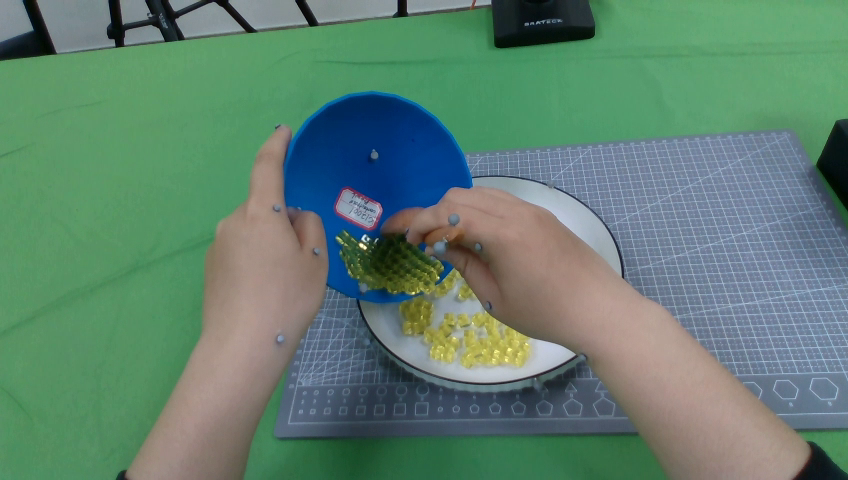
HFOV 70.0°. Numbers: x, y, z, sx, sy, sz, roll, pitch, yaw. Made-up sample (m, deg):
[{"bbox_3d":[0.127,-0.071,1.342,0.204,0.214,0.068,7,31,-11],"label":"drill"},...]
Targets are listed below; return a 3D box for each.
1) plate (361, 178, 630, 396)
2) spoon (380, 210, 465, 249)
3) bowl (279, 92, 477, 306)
[{"bbox_3d":[0.054,0.033,0.484,0.207,0.039,0.205,-5,48,6],"label":"plate"},{"bbox_3d":[0.000,-0.005,0.387,0.041,0.022,0.193,-24,10,-9],"label":"spoon"},{"bbox_3d":[-0.043,-0.026,0.457,0.151,0.152,0.076,-41,17,-25],"label":"bowl"}]
